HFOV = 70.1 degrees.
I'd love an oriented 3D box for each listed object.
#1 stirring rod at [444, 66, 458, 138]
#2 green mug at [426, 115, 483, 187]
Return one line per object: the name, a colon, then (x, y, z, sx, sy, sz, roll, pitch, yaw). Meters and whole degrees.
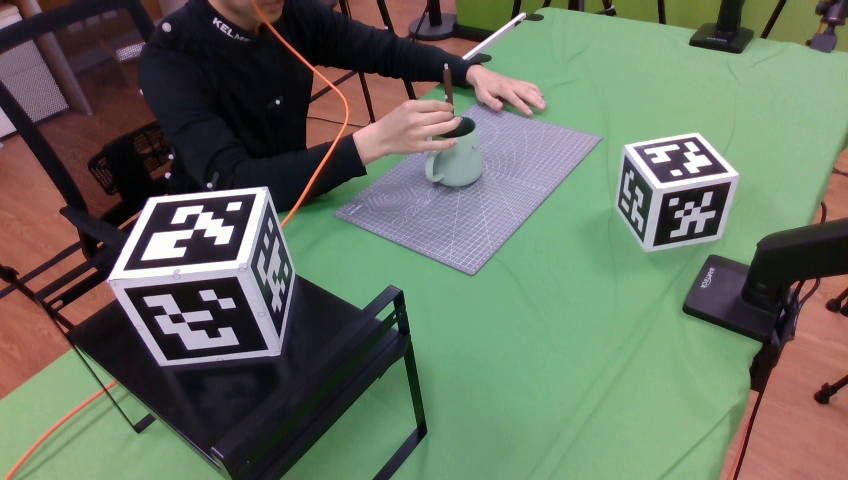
stirring rod: (0.049, -0.217, 1.050, 0.014, 0.177, 0.005, -29, 42, -24)
green mug: (0.047, -0.148, 1.068, 0.092, 0.105, 0.125, 24, 50, 31)
